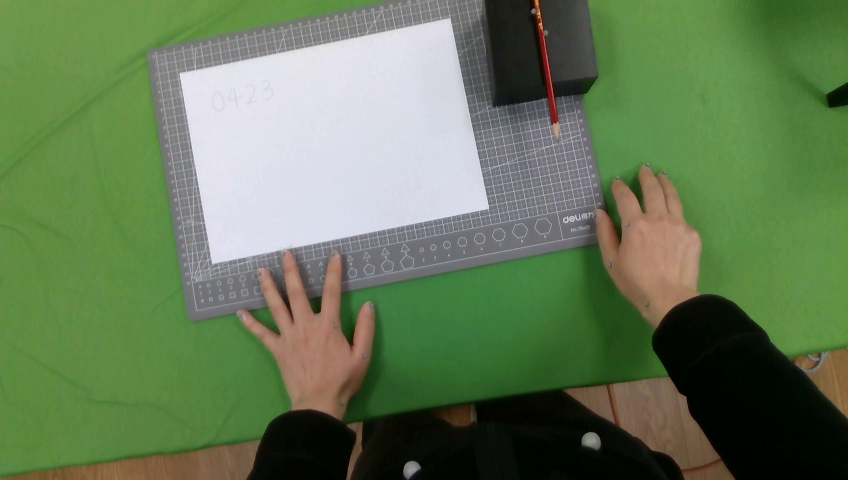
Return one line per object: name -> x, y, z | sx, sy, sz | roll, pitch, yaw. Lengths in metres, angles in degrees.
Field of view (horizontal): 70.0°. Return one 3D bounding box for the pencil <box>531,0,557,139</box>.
pencil -> 0.114, -0.193, 0.590 | 0.012, 0.012, 0.193 | -8, 86, 2
